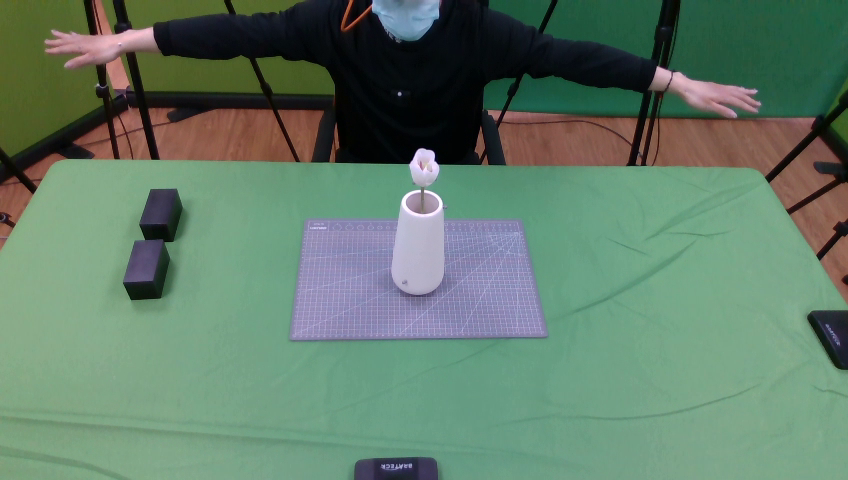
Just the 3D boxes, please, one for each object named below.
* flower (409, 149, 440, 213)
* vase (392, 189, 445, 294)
[{"bbox_3d":[-0.005,-0.038,0.989,0.038,0.363,0.044,-31,71,-15],"label":"flower"},{"bbox_3d":[-0.007,0.006,1.060,0.098,0.201,0.097,2,48,-2],"label":"vase"}]
